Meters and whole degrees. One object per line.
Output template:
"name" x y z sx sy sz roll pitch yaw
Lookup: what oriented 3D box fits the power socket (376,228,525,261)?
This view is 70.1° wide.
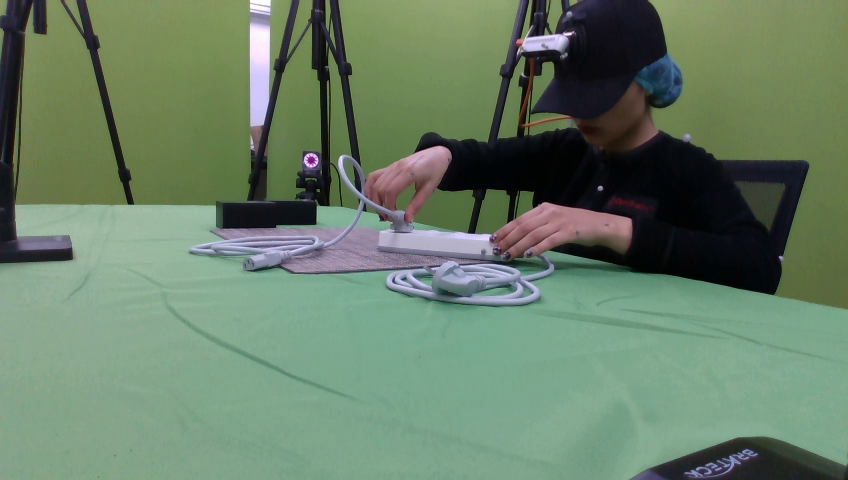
"power socket" 0.037 0.005 0.913 0.226 0.032 0.072 5 8 17

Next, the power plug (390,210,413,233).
"power plug" -0.043 -0.019 0.903 0.035 0.052 0.073 6 8 29
